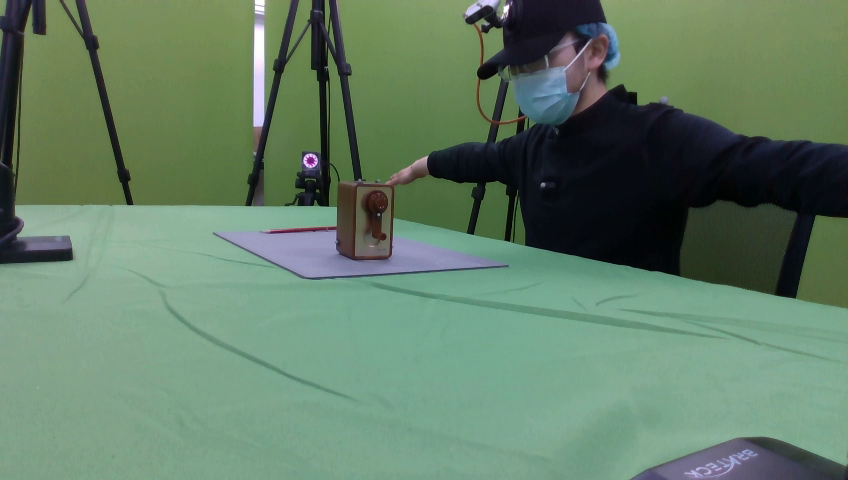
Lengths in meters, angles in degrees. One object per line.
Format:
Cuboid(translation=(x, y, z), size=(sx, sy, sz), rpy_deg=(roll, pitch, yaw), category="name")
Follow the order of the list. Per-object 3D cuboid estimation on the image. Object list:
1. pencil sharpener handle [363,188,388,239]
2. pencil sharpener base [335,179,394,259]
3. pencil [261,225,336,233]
Cuboid(translation=(-0.060, -0.035, 0.807), size=(0.036, 0.067, 0.030), rpy_deg=(-2, 9, -28), category="pencil sharpener handle")
Cuboid(translation=(-0.084, -0.030, 0.853), size=(0.061, 0.107, 0.076), rpy_deg=(-1, 8, -28), category="pencil sharpener base")
Cuboid(translation=(-0.212, -0.021, 1.123), size=(0.195, 0.012, 0.012), rpy_deg=(-5, 11, -40), category="pencil")
